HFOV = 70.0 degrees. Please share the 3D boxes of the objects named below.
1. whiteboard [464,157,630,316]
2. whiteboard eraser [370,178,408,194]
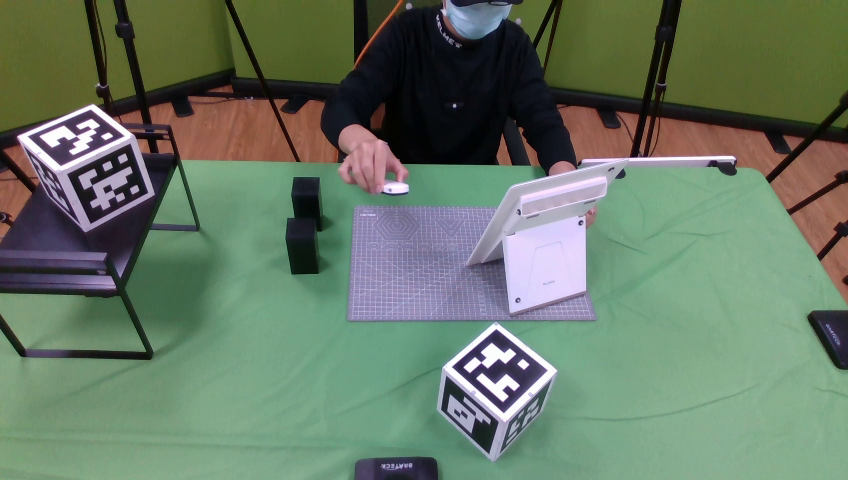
[{"bbox_3d":[0.224,0.014,1.041,0.217,0.306,0.143,-14,68,-17],"label":"whiteboard"},{"bbox_3d":[-0.063,-0.096,1.071,0.041,0.019,0.101,-9,16,-28],"label":"whiteboard eraser"}]
